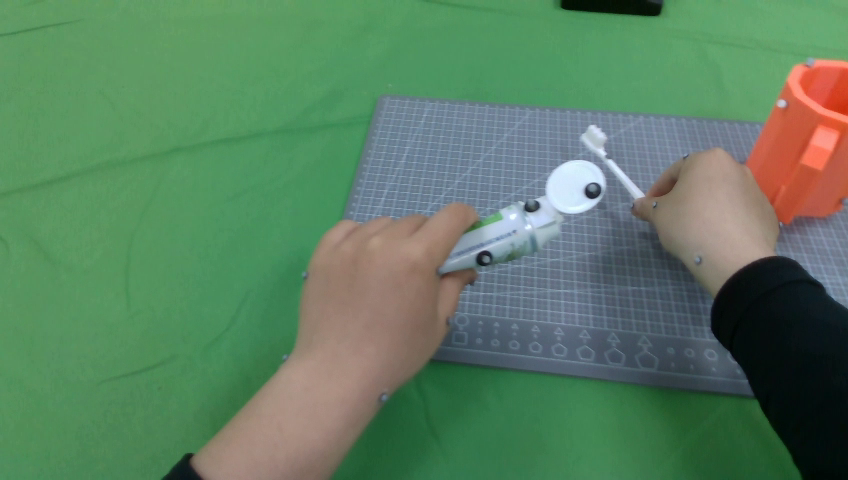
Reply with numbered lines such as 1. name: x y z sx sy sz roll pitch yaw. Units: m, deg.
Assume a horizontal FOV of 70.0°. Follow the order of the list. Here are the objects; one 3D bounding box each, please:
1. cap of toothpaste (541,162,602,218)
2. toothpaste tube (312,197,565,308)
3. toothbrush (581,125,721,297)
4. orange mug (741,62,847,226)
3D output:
1. cap of toothpaste: 0.089 -0.029 0.363 0.037 0.011 0.037 -12 63 25
2. toothpaste tube: 0.011 0.013 0.383 0.165 0.055 0.034 -21 81 2
3. toothbrush: 0.177 -0.029 0.482 0.014 0.017 0.180 -6 52 -30
4. orange mug: 0.313 -0.071 0.485 0.083 0.101 0.126 28 50 23
